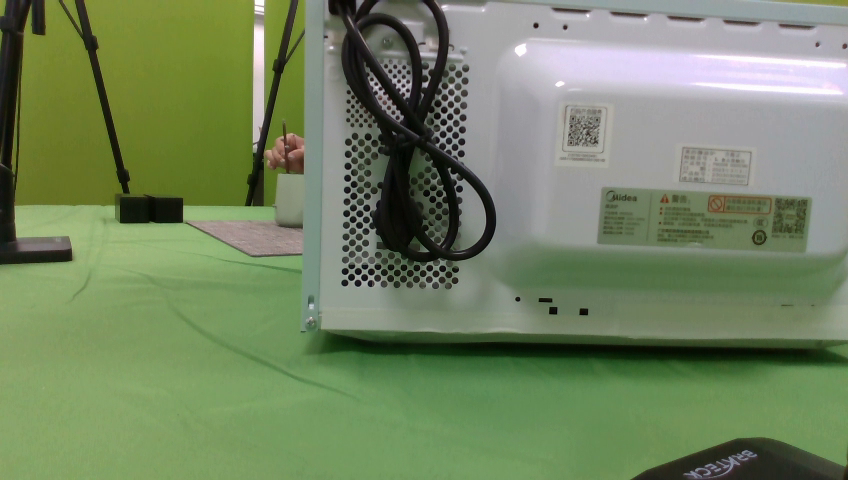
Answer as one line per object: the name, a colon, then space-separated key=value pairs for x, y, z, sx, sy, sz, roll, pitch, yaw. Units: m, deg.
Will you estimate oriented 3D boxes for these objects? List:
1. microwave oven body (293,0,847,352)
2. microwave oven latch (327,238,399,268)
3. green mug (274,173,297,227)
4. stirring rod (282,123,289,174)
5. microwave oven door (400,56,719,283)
microwave oven body: x=0.122 y=-0.055 z=0.550 sx=0.442 sy=0.260 sz=0.325 roll=3 pitch=7 yaw=-5
microwave oven latch: x=-0.069 y=0.015 z=0.694 sx=0.079 sy=0.029 sz=0.030 roll=3 pitch=7 yaw=-3
green mug: x=-0.242 y=-0.081 z=1.221 sx=0.092 sy=0.105 sz=0.126 roll=8 pitch=9 yaw=40
stirring rod: x=-0.272 y=-0.143 z=1.199 sx=0.006 sy=0.176 sz=0.014 roll=-3 pitch=9 yaw=-5
microwave oven door: x=0.155 y=-0.078 z=0.697 sx=0.356 sy=0.243 sz=0.039 roll=2 pitch=8 yaw=-5
